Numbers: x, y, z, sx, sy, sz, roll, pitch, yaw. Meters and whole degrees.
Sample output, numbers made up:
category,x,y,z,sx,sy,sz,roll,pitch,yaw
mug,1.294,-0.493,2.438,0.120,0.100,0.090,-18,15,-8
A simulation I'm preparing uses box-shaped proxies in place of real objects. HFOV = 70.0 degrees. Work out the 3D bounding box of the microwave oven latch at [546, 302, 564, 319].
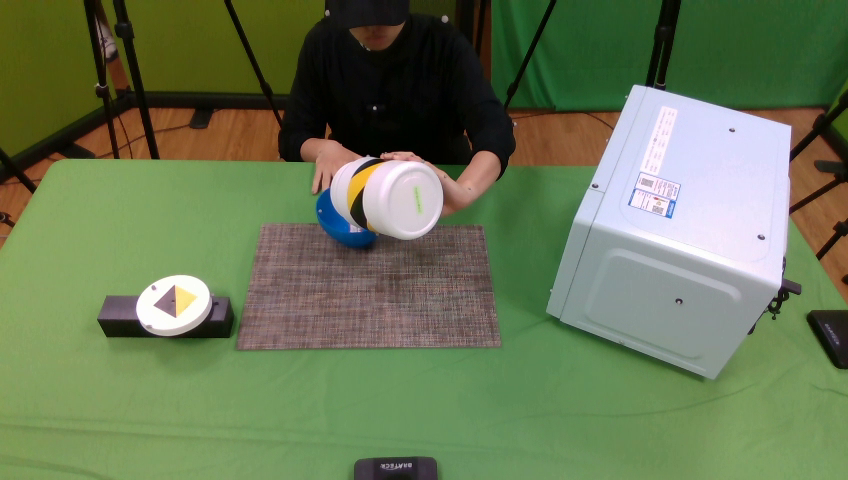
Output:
category,x,y,z,sx,sy,sz,roll,pitch,yaw
microwave oven latch,0.242,0.102,1.081,0.030,0.029,0.079,21,48,17

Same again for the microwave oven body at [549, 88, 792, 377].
category,x,y,z,sx,sy,sz,roll,pitch,yaw
microwave oven body,0.456,-0.028,1.088,0.325,0.261,0.440,20,47,16

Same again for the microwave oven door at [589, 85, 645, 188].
category,x,y,z,sx,sy,sz,roll,pitch,yaw
microwave oven door,0.341,-0.107,1.149,0.039,0.245,0.354,20,48,15

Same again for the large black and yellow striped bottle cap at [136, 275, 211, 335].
category,x,y,z,sx,sy,sz,roll,pitch,yaw
large black and yellow striped bottle cap,-0.412,0.105,0.999,0.115,0.019,0.114,3,46,-3

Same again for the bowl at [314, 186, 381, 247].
category,x,y,z,sx,sy,sz,roll,pitch,yaw
bowl,-0.135,-0.039,1.180,0.151,0.077,0.150,3,46,-2

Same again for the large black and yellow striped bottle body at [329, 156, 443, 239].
category,x,y,z,sx,sy,sz,roll,pitch,yaw
large black and yellow striped bottle body,-0.071,-0.077,1.043,0.131,0.131,0.183,-32,27,-30
